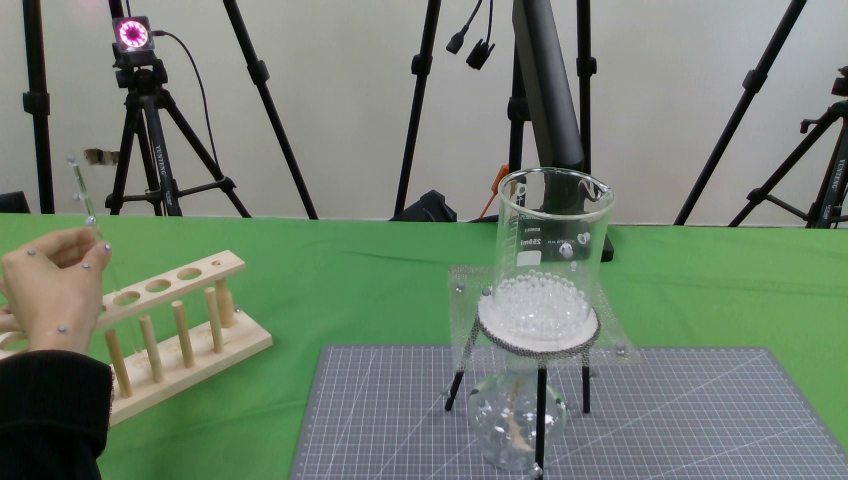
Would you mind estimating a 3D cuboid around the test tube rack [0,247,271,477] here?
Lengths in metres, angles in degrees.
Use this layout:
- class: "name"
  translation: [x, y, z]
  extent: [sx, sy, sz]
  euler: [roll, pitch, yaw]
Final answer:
- class: "test tube rack"
  translation: [-0.264, 0.095, 0.537]
  extent: [0.243, 0.086, 0.066]
  euler: [-25, 39, -37]

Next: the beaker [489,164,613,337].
- class: "beaker"
  translation: [0.084, 0.008, 0.412]
  extent: [0.084, 0.101, 0.073]
  euler: [-11, 33, -19]

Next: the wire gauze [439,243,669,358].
- class: "wire gauze"
  translation: [0.086, 0.039, 0.423]
  extent: [0.125, 0.011, 0.120]
  euler: [-6, 28, -21]

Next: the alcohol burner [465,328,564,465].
- class: "alcohol burner"
  translation: [0.072, 0.116, 0.473]
  extent: [0.078, 0.120, 0.077]
  euler: [2, 30, -1]

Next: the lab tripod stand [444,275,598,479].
- class: "lab tripod stand"
  translation: [0.082, 0.108, 0.468]
  extent: [0.148, 0.132, 0.147]
  euler: [2, 31, -1]

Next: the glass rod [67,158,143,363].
- class: "glass rod"
  translation: [-0.274, 0.025, 0.525]
  extent: [0.008, 0.201, 0.008]
  euler: [-4, 25, 2]
